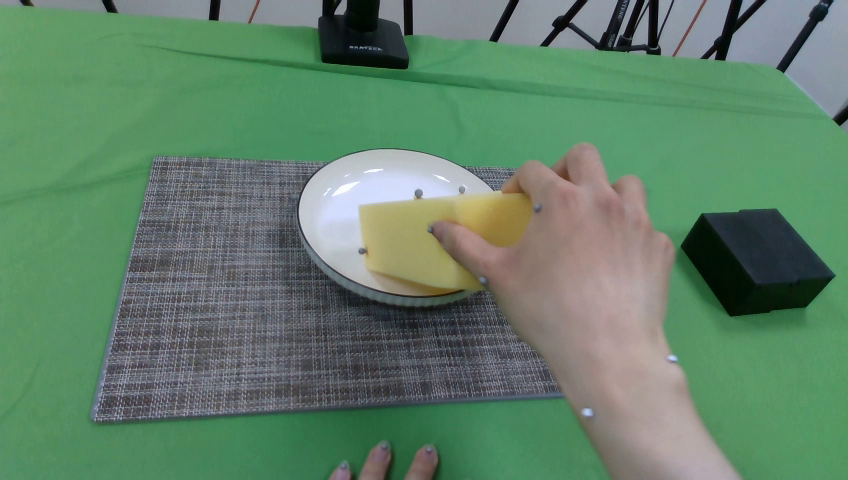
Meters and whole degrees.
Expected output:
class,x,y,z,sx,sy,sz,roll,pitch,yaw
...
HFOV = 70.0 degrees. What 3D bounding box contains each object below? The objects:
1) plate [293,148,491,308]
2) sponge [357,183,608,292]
class,x,y,z,sx,sy,sz,roll,pitch,yaw
plate,-0.021,-0.012,0.585,0.208,0.039,0.205,7,44,-7
sponge,0.032,-0.007,0.480,0.119,0.061,0.205,-6,5,-22
